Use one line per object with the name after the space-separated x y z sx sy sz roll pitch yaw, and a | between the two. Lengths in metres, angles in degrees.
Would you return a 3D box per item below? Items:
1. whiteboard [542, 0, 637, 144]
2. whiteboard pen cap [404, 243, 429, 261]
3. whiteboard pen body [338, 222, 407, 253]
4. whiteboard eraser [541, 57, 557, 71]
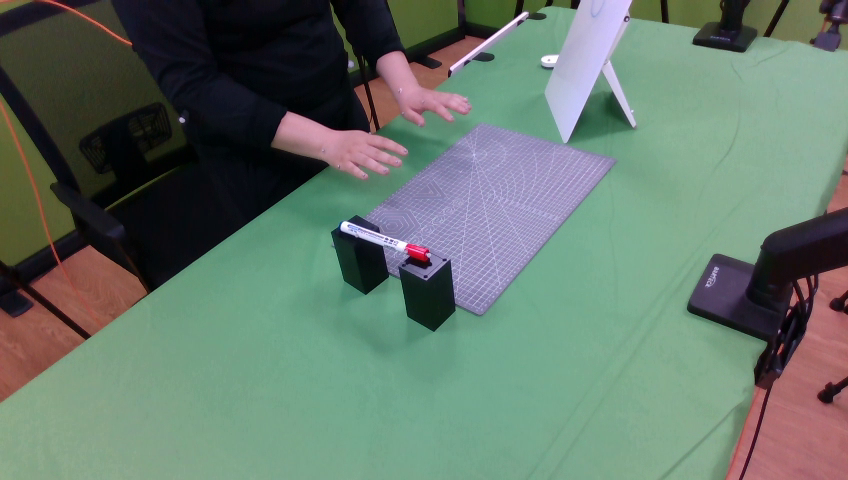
0.366 -0.351 1.160 0.144 0.305 0.216 10 39 -10 | whiteboard
-0.010 0.015 0.801 0.032 0.017 0.017 18 46 28 | whiteboard pen cap
-0.061 -0.001 0.828 0.139 0.017 0.017 18 46 28 | whiteboard pen body
0.323 -0.412 1.407 0.101 0.019 0.041 1 42 11 | whiteboard eraser
